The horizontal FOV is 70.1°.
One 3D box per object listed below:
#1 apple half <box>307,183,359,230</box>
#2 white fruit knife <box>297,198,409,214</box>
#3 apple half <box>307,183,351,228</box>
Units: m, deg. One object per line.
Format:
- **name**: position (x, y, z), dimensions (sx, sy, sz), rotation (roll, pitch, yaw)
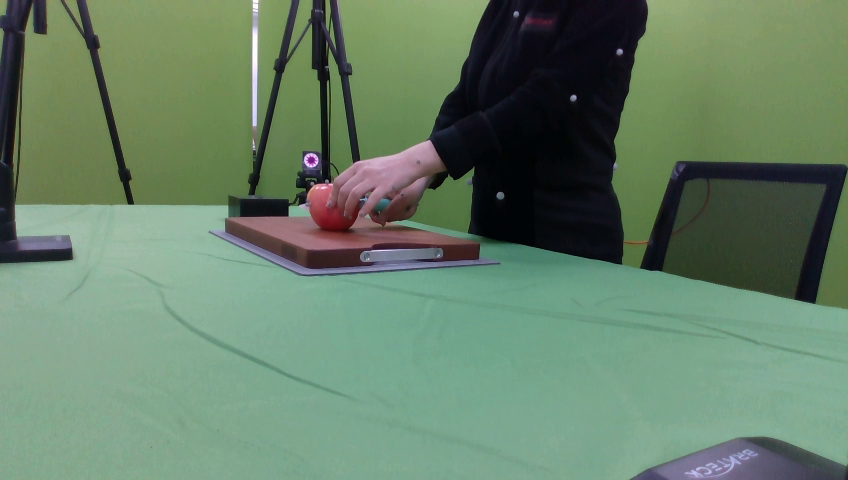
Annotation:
- **apple half**: position (-0.138, -0.051, 0.950), dimensions (0.081, 0.074, 0.053), rotation (3, 13, -36)
- **white fruit knife**: position (-0.112, -0.057, 0.997), dimensions (0.208, 0.027, 0.016), rotation (-1, 3, -37)
- **apple half**: position (-0.160, -0.057, 0.982), dimensions (0.082, 0.081, 0.032), rotation (-3, 7, -35)
